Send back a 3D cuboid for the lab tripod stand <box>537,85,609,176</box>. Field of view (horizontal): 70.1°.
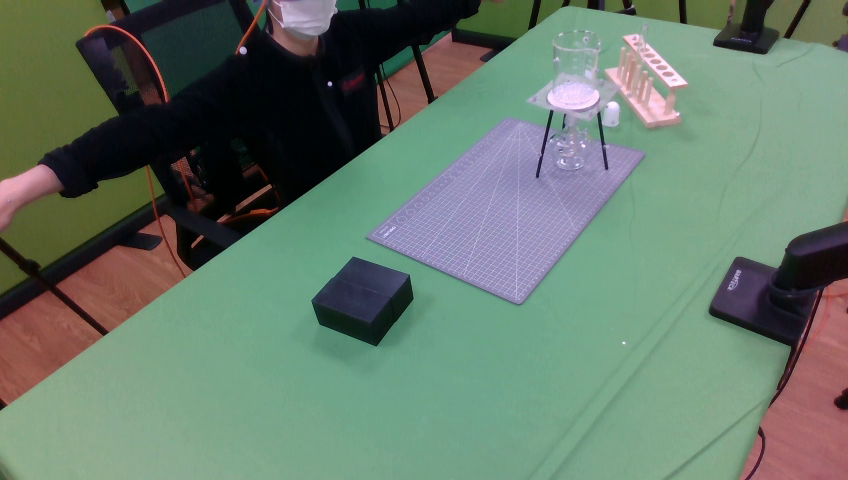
[{"bbox_3d":[0.259,-0.192,1.068,0.148,0.132,0.147,-4,43,4],"label":"lab tripod stand"}]

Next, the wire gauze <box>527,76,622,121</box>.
[{"bbox_3d":[0.255,-0.247,1.030,0.124,0.011,0.122,23,49,34],"label":"wire gauze"}]

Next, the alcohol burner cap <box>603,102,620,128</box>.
[{"bbox_3d":[0.371,-0.249,1.193,0.034,0.048,0.033,-5,41,5],"label":"alcohol burner cap"}]

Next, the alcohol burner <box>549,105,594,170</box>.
[{"bbox_3d":[0.262,-0.186,1.076,0.078,0.119,0.077,-6,41,6],"label":"alcohol burner"}]

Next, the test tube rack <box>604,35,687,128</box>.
[{"bbox_3d":[0.447,-0.330,1.241,0.067,0.085,0.241,-9,41,-2],"label":"test tube rack"}]

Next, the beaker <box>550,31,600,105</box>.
[{"bbox_3d":[0.250,-0.281,0.996,0.074,0.101,0.083,-37,49,-27],"label":"beaker"}]

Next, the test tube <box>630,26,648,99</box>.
[{"bbox_3d":[0.426,-0.350,1.199,0.017,0.151,0.017,-4,42,4],"label":"test tube"}]
